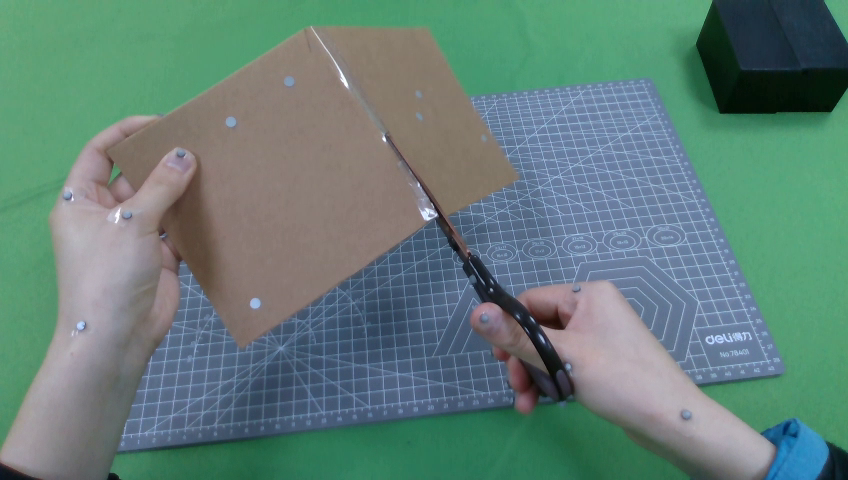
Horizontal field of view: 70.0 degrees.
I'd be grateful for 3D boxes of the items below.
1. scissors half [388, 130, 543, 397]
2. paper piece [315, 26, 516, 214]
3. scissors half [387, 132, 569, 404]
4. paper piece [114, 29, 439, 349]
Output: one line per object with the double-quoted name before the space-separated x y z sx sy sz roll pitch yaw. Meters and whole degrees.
"scissors half" 0.024 0.012 0.346 0.013 0.040 0.175 -30 93 -6
"paper piece" 0.005 -0.085 0.403 0.135 0.004 0.136 57 31 3
"scissors half" 0.025 0.009 0.326 0.013 0.040 0.174 -30 74 -11
"paper piece" -0.085 -0.031 0.344 0.138 0.008 0.135 -33 84 0
